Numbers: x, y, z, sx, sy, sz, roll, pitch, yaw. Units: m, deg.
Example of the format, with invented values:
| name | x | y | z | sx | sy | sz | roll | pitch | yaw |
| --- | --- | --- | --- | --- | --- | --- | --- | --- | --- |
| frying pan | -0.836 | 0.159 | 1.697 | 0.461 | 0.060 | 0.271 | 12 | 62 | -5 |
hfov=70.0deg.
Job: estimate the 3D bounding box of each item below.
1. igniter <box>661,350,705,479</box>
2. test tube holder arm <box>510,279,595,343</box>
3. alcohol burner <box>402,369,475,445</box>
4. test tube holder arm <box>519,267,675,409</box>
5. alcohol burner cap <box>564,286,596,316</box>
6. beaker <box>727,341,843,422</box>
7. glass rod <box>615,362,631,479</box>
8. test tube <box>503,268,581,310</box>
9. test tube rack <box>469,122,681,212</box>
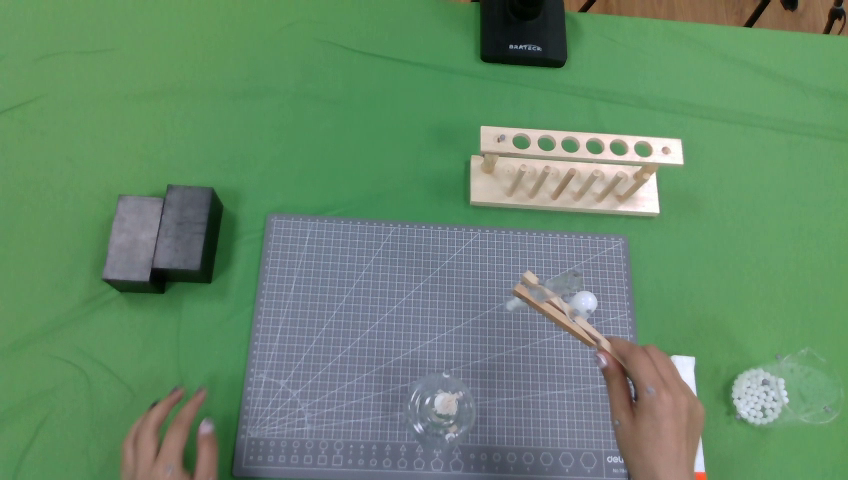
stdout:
| name | x | y | z | sx | sy | sz | roll | pitch | yaw |
| --- | --- | --- | --- | --- | --- | --- | --- | --- | --- |
| igniter | 0.291 | 0.260 | 0.667 | 0.057 | 0.025 | 0.274 | 7 | 70 | -13 |
| test tube holder arm | 0.117 | 0.065 | 0.547 | 0.088 | 0.015 | 0.010 | 34 | 72 | 2 |
| alcohol burner | 0.016 | 0.169 | 0.625 | 0.078 | 0.120 | 0.077 | 2 | 68 | -4 |
| test tube holder arm | 0.156 | 0.089 | 0.547 | 0.178 | 0.015 | 0.013 | 41 | 73 | 4 |
| alcohol burner cap | 0.186 | 0.071 | 0.713 | 0.034 | 0.048 | 0.033 | 2 | 70 | -5 |
| beaker | 0.394 | 0.161 | 0.673 | 0.074 | 0.101 | 0.083 | 16 | 69 | 1 |
| glass rod | 0.225 | 0.224 | 0.680 | 0.008 | 0.008 | 0.198 | 3 | 70 | -4 |
| test tube | 0.102 | 0.047 | 0.549 | 0.017 | 0.150 | 0.017 | 3 | 76 | -12 |
| test tube rack | 0.181 | -0.087 | 0.748 | 0.243 | 0.085 | 0.066 | 3 | 70 | -4 |
